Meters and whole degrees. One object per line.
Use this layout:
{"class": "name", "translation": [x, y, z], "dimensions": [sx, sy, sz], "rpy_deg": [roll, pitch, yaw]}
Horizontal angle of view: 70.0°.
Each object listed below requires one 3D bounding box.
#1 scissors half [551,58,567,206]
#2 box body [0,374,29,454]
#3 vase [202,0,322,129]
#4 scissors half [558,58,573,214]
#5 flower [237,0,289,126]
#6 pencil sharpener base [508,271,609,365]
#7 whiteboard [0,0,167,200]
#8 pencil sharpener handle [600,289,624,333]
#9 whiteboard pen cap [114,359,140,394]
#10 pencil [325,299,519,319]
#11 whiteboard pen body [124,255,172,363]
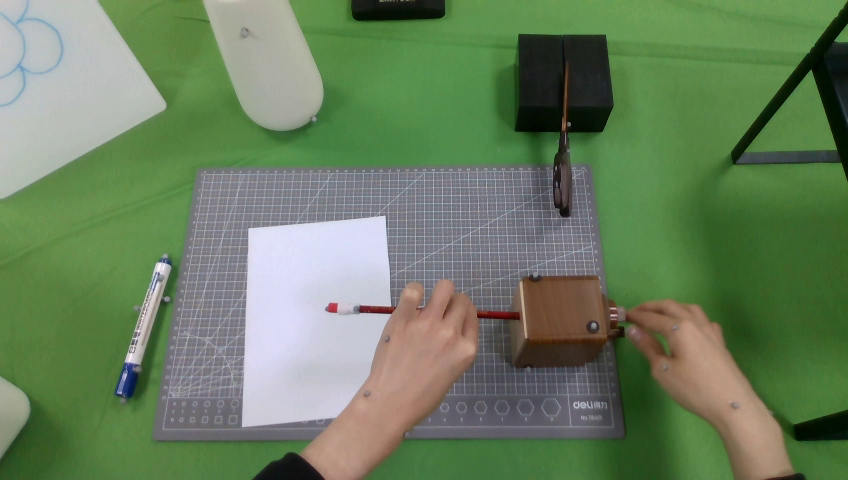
{"class": "scissors half", "translation": [0.146, -0.119, 0.643], "dimensions": [0.013, 0.040, 0.174], "rpy_deg": [0, 68, 21]}
{"class": "box body", "translation": [-0.580, 0.153, 0.517], "dimensions": [0.363, 0.161, 0.253], "rpy_deg": [25, 70, 11]}
{"class": "vase", "translation": [-0.172, -0.207, 0.642], "dimensions": [0.098, 0.201, 0.097], "rpy_deg": [-1, 65, 2]}
{"class": "scissors half", "translation": [0.155, -0.115, 0.661], "dimensions": [0.012, 0.040, 0.175], "rpy_deg": [-1, 86, 26]}
{"class": "flower", "translation": [-0.181, -0.252, 0.571], "dimensions": [0.044, 0.365, 0.038], "rpy_deg": [-7, 49, 2]}
{"class": "pencil sharpener base", "translation": [0.122, 0.075, 0.562], "dimensions": [0.077, 0.108, 0.061], "rpy_deg": [-2, 66, 1]}
{"class": "whiteboard", "translation": [-0.466, -0.237, 0.637], "dimensions": [0.217, 0.309, 0.142], "rpy_deg": [-33, 50, -12]}
{"class": "pencil sharpener handle", "translation": [0.173, 0.069, 0.550], "dimensions": [0.030, 0.068, 0.035], "rpy_deg": [-2, 61, 1]}
{"class": "whiteboard pen cap", "translation": [-0.290, 0.133, 0.595], "dimensions": [0.018, 0.018, 0.033], "rpy_deg": [5, 62, 4]}
{"class": "pencil", "translation": [0.009, 0.063, 0.539], "dimensions": [0.194, 0.012, 0.012], "rpy_deg": [3, 66, 1]}
{"class": "whiteboard pen body", "translation": [-0.285, 0.080, 0.619], "dimensions": [0.017, 0.017, 0.140], "rpy_deg": [6, 65, 4]}
